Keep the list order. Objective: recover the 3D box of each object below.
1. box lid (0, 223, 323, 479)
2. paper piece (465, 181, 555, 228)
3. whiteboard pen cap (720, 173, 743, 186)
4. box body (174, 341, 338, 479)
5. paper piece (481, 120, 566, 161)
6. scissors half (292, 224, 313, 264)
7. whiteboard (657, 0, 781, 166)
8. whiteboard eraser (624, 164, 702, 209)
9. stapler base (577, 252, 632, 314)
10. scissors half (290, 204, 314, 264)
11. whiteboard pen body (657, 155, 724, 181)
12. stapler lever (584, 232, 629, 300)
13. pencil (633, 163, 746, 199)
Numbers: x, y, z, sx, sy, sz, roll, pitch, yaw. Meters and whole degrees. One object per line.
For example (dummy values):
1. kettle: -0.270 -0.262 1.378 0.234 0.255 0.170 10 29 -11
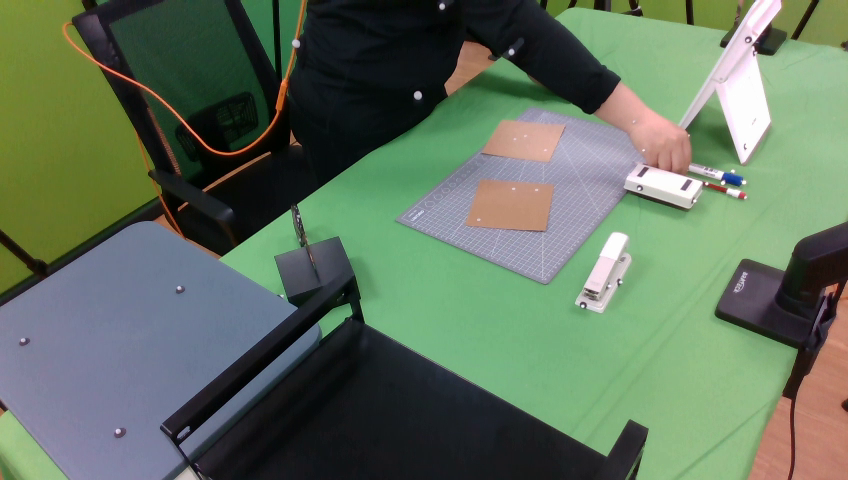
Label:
1. box lid: -0.318 0.109 0.671 0.368 0.015 0.264 24 49 31
2. paper piece: 0.150 -0.062 1.034 0.137 0.009 0.136 4 37 17
3. whiteboard pen cap: 0.519 -0.103 1.020 0.033 0.018 0.018 23 49 29
4. box body: -0.311 0.165 0.720 0.361 0.161 0.255 23 48 32
5. paper piece: 0.197 -0.199 1.188 0.135 0.004 0.135 11 43 21
6. scissors half: -0.189 0.007 0.955 0.013 0.040 0.174 -17 21 -14
7. whiteboard: 0.571 -0.272 1.038 0.143 0.306 0.218 37 54 17
8. whiteboard eraser: 0.396 -0.087 1.003 0.112 0.042 0.056 23 48 31
9. stapler base: 0.264 0.051 0.875 0.041 0.024 0.131 16 47 30
10. scissors half: -0.190 -0.010 0.945 0.013 0.040 0.173 -13 37 -17
11. whiteboard pen body: 0.475 -0.123 1.052 0.139 0.017 0.017 24 50 32
12. stapler lever: 0.261 0.034 0.858 0.026 0.040 0.118 16 46 30
13. pencil: 0.451 -0.104 1.038 0.192 0.012 0.012 24 50 32
